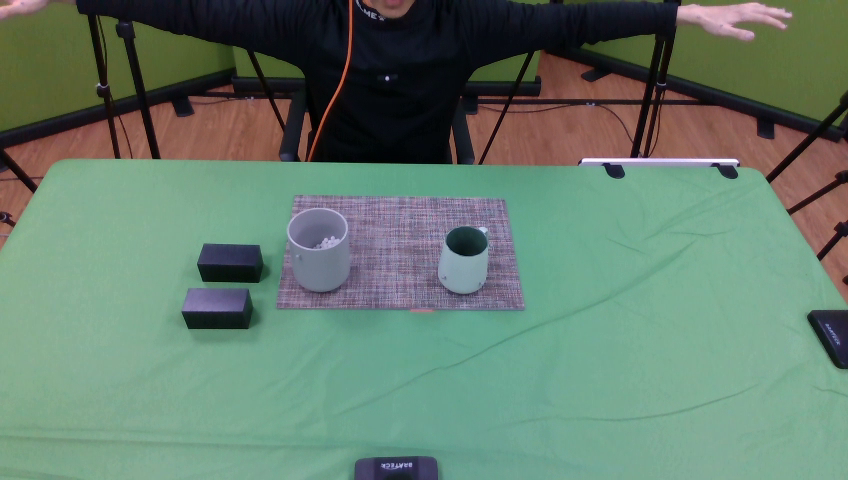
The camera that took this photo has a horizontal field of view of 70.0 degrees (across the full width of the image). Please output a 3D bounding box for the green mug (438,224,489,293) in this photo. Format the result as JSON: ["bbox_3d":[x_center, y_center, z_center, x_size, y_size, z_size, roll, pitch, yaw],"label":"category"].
[{"bbox_3d":[0.083,0.026,1.115,0.092,0.105,0.125,27,51,20],"label":"green mug"}]

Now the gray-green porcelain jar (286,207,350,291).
[{"bbox_3d":[-0.187,0.021,1.084,0.106,0.127,0.105,2,47,-2],"label":"gray-green porcelain jar"}]
